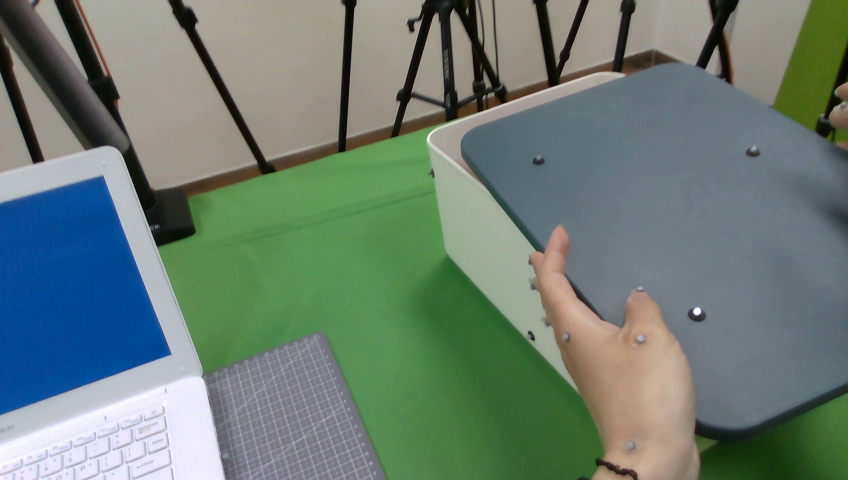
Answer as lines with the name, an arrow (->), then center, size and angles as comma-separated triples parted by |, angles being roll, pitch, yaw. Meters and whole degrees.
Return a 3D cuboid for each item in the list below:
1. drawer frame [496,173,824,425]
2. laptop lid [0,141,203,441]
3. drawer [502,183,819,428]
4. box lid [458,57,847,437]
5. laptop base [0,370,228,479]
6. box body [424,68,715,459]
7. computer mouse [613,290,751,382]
drawer frame -> 0.205, 0.041, 0.573 | 0.202, 0.083, 0.211 | -18, 40, -16
laptop lid -> -0.402, 0.073, 0.514 | 0.357, 0.242, 0.013 | -21, 12, -16
drawer -> 0.208, 0.046, 0.576 | 0.195, 0.074, 0.209 | -21, 41, -15
box lid -> 0.207, -0.037, 0.474 | 0.263, 0.015, 0.367 | -21, 43, -9
laptop base -> -0.322, 0.247, 0.452 | 0.355, 0.023, 0.232 | -19, 44, -16
box body -> 0.194, -0.006, 0.581 | 0.254, 0.162, 0.360 | -23, 42, -20
computer mouse -> 0.238, 0.086, 0.563 | 0.117, 0.041, 0.062 | -19, 45, -4
